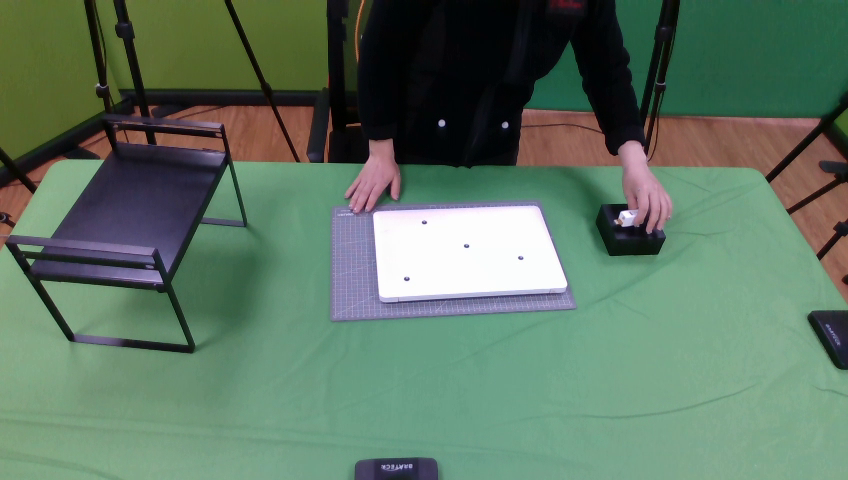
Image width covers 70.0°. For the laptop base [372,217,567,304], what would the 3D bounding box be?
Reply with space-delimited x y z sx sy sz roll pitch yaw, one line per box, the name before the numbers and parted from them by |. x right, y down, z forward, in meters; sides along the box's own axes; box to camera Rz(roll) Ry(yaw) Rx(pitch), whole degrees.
laptop base | 0.081 0.024 1.181 0.355 0.023 0.234 -3 43 -6

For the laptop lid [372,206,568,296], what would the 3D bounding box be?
laptop lid | 0.081 0.014 1.174 0.357 0.013 0.240 -1 44 -5

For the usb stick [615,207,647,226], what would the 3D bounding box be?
usb stick | 0.401 -0.045 1.181 0.059 0.027 0.021 -12 39 -11
